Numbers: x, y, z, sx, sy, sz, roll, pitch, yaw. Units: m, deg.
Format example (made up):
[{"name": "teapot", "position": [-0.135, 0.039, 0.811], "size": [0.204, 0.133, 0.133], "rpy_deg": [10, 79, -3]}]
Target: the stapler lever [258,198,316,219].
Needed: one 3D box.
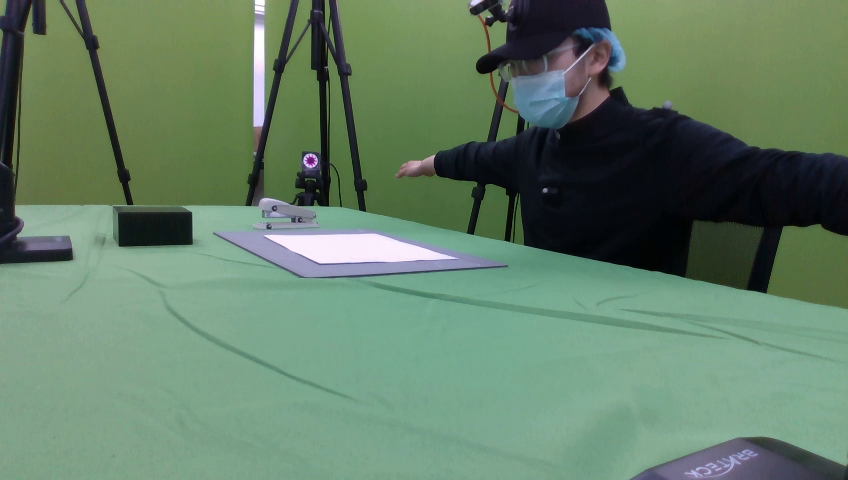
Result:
[{"name": "stapler lever", "position": [-0.271, -0.062, 1.201], "size": [0.119, 0.040, 0.026], "rpy_deg": [-1, 11, -40]}]

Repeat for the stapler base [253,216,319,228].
[{"name": "stapler base", "position": [-0.274, -0.037, 1.203], "size": [0.131, 0.024, 0.041], "rpy_deg": [-1, 11, -40]}]
